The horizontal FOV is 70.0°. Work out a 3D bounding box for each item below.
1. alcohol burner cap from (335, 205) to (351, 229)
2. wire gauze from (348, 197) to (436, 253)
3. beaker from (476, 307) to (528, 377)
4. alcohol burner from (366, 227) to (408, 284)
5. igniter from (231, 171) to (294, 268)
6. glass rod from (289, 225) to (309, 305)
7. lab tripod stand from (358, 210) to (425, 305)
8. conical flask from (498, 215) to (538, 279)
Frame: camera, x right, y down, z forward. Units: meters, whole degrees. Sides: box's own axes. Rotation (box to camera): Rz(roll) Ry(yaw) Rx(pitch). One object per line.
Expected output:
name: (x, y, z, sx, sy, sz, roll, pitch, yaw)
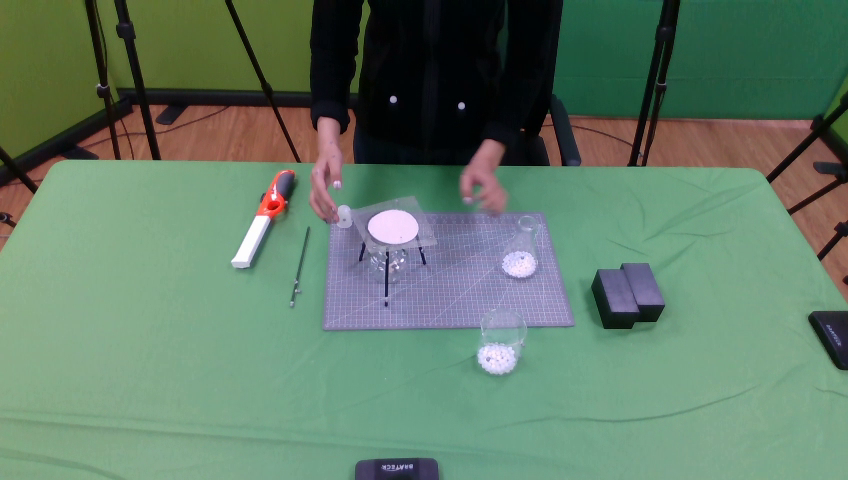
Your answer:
alcohol burner cap: (-0.164, -0.049, 1.216, 0.034, 0.048, 0.033, 1, 45, -1)
wire gauze: (-0.056, -0.026, 1.045, 0.125, 0.011, 0.120, -11, 47, -17)
beaker: (0.122, 0.171, 0.991, 0.084, 0.101, 0.073, -34, 56, -30)
alcohol burner: (-0.068, 0.024, 1.104, 0.078, 0.120, 0.077, 1, 45, -1)
igniter: (-0.321, -0.051, 1.220, 0.057, 0.025, 0.275, 2, 45, 12)
glass rod: (-0.235, 0.042, 1.149, 0.008, 0.008, 0.198, 3, 46, -1)
lab tripod stand: (-0.060, 0.020, 1.094, 0.148, 0.132, 0.147, 3, 44, -2)
conical flask: (0.183, 0.010, 1.131, 0.075, 0.122, 0.075, 2, 46, -2)
